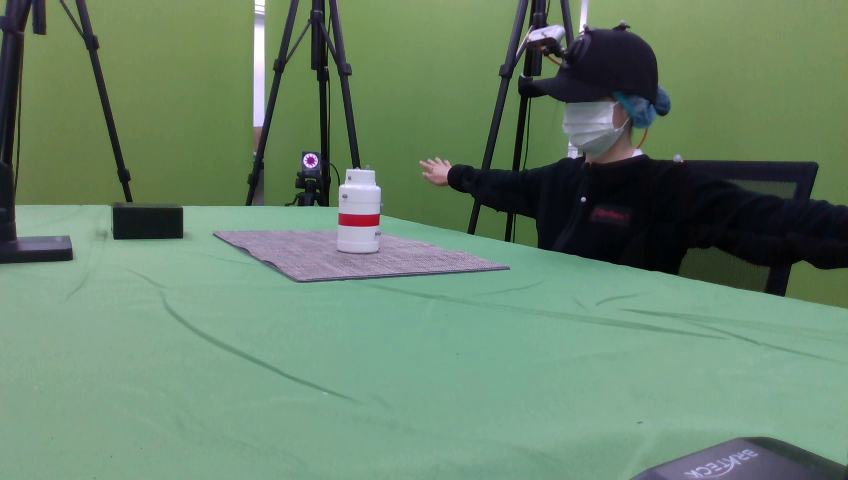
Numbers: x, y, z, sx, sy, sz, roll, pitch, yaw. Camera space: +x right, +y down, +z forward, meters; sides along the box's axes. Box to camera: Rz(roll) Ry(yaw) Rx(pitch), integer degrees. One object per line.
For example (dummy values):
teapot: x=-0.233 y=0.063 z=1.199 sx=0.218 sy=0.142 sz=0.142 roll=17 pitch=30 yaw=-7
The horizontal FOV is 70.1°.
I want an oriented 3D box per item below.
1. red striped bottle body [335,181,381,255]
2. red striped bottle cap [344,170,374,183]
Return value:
red striped bottle body: x=-0.097 y=-0.042 z=0.894 sx=0.063 sy=0.119 sz=0.063 roll=4 pitch=8 yaw=0
red striped bottle cap: x=-0.094 y=-0.093 z=0.887 sx=0.044 sy=0.017 sz=0.044 roll=5 pitch=5 yaw=0
